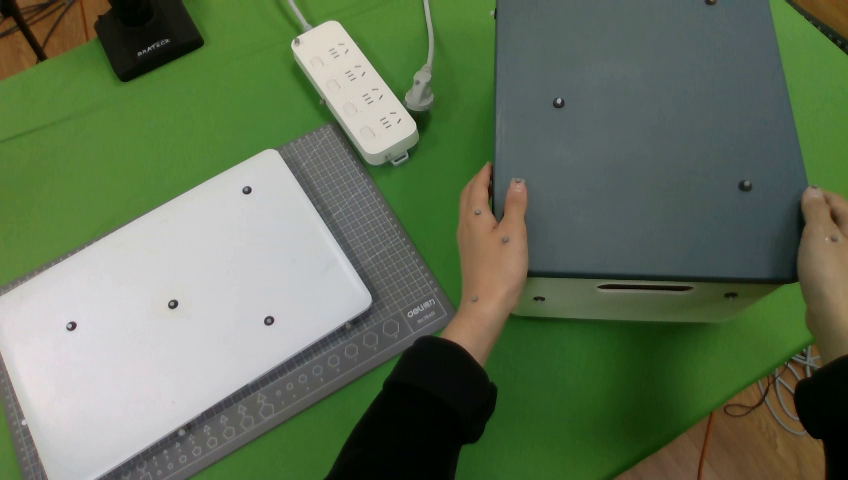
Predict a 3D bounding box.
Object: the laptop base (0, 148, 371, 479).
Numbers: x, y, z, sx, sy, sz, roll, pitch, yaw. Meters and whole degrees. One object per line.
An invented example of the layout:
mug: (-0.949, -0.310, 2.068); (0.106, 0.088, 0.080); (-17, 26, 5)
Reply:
laptop base: (-0.261, 0.068, 0.651); (0.354, 0.023, 0.234); (-32, 71, -10)

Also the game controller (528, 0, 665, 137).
game controller: (0.184, -0.192, 0.645); (0.097, 0.052, 0.154); (-22, 66, -5)

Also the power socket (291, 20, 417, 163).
power socket: (-0.088, -0.187, 0.746); (0.072, 0.033, 0.225); (-31, 67, -11)

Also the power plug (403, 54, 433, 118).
power plug: (0.002, -0.184, 0.736); (0.035, 0.053, 0.072); (27, 53, 19)

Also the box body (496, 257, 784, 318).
box body: (0.198, -0.108, 0.622); (0.254, 0.161, 0.361); (1, 66, 4)

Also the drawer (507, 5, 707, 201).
drawer: (0.191, -0.149, 0.667); (0.194, 0.074, 0.210); (-1, 72, 7)

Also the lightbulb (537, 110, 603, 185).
lightbulb: (0.155, -0.106, 0.665); (0.059, 0.060, 0.106); (-20, 53, -5)

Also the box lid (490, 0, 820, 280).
box lid: (0.194, -0.140, 0.555); (0.263, 0.015, 0.368); (1, 67, 4)

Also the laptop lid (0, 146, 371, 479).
laptop lid: (-0.261, 0.065, 0.639); (0.357, 0.013, 0.240); (-30, 70, -10)
